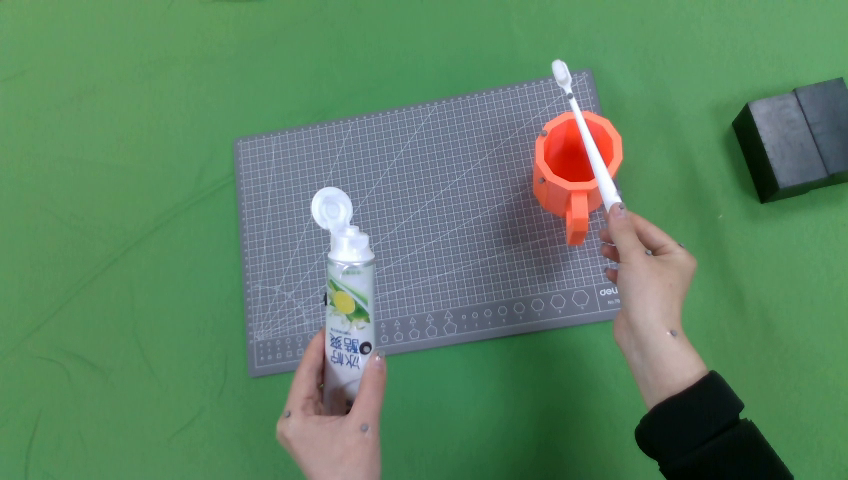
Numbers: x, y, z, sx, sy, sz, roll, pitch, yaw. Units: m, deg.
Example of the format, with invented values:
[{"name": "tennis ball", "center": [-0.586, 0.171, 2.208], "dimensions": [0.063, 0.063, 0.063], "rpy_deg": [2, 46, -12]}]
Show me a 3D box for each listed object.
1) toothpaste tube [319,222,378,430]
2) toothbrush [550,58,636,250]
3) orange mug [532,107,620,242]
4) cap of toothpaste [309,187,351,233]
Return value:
[{"name": "toothpaste tube", "center": [-0.059, 0.067, 0.465], "dimensions": [0.055, 0.034, 0.165], "rpy_deg": [9, 106, 28]}, {"name": "toothbrush", "center": [0.145, -0.076, 0.523], "dimensions": [0.014, 0.017, 0.181], "rpy_deg": [-22, 81, 17]}, {"name": "orange mug", "center": [0.159, -0.065, 0.644], "dimensions": [0.083, 0.101, 0.125], "rpy_deg": [-2, 72, 8]}, {"name": "cap of toothpaste", "center": [-0.069, -0.023, 0.460], "dimensions": [0.037, 0.011, 0.037], "rpy_deg": [7, 79, -36]}]
